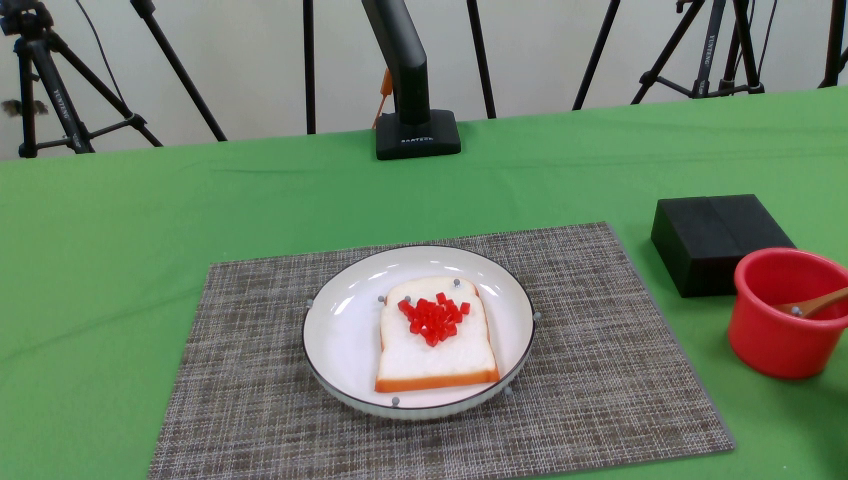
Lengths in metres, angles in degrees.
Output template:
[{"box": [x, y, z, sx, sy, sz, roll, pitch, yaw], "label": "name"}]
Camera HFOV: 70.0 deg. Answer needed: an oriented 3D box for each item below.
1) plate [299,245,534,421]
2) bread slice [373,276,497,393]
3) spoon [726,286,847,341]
[{"box": [-0.007, 0.081, 0.552, 0.209, 0.038, 0.207, -3, 38, 2], "label": "plate"}, {"box": [0.006, 0.081, 0.554, 0.105, 0.019, 0.130, -4, 38, -1], "label": "bread slice"}, {"box": [0.340, 0.045, 0.484, 0.193, 0.022, 0.041, -33, 16, 43], "label": "spoon"}]
